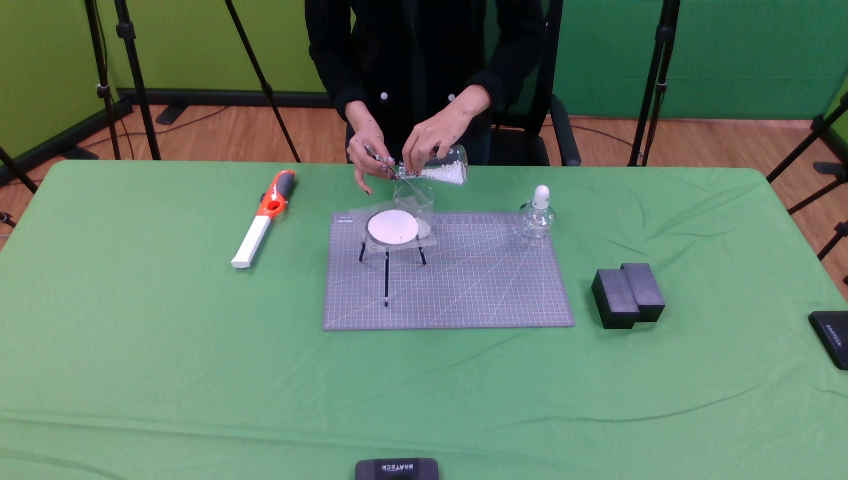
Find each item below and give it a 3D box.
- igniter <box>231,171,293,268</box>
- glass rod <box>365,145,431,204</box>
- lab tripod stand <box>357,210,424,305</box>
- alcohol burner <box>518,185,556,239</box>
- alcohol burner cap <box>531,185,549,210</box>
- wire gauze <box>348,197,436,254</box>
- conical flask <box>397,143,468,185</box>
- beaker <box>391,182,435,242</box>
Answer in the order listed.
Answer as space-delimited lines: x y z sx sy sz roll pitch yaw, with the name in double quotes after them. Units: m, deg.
-0.321 -0.051 1.220 0.057 0.025 0.275 1 45 11 "igniter"
-0.044 -0.118 1.120 0.008 0.201 0.008 -21 51 28 "glass rod"
-0.060 0.020 1.094 0.148 0.132 0.147 3 44 -2 "lab tripod stand"
0.227 -0.061 1.209 0.078 0.120 0.077 1 44 -1 "alcohol burner"
0.228 -0.085 1.183 0.034 0.048 0.033 -1 48 2 "alcohol burner cap"
-0.056 -0.026 1.045 0.125 0.011 0.120 -12 46 -17 "wire gauze"
0.014 -0.133 1.099 0.122 0.076 0.075 -3 44 16 "conical flask"
-0.023 -0.053 1.192 0.084 0.101 0.073 -2 46 -6 "beaker"
